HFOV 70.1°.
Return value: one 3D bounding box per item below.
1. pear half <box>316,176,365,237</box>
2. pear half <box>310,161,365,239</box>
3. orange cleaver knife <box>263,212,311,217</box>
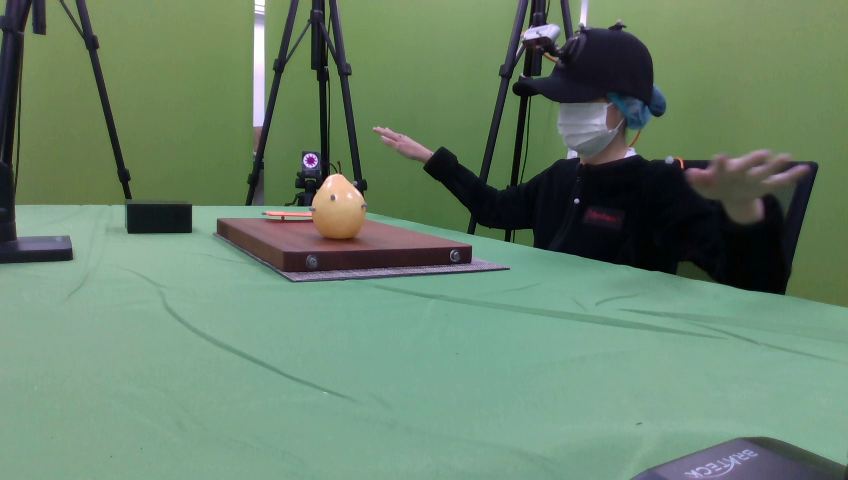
[{"bbox_3d":[-0.120,-0.049,0.874,0.070,0.088,0.031,-2,8,0],"label":"pear half"},{"bbox_3d":[-0.122,-0.055,0.837,0.076,0.110,0.056,-2,7,1],"label":"pear half"},{"bbox_3d":[-0.192,-0.045,1.097,0.212,0.012,0.077,0,4,-38],"label":"orange cleaver knife"}]
